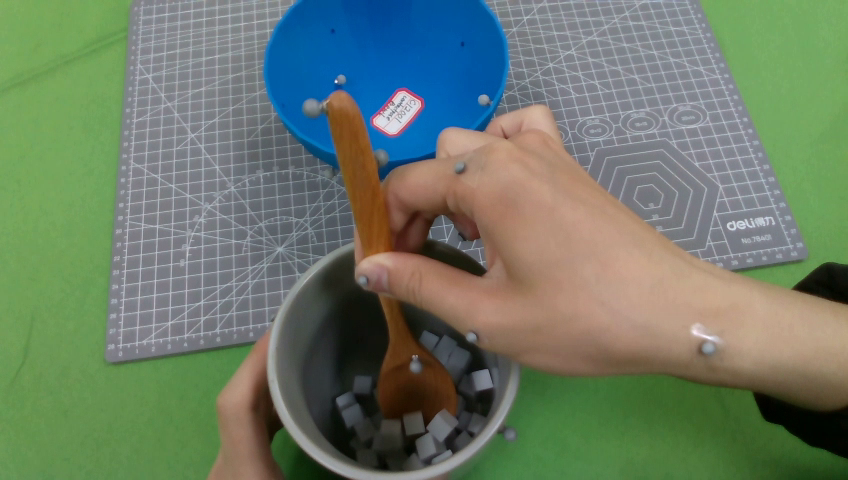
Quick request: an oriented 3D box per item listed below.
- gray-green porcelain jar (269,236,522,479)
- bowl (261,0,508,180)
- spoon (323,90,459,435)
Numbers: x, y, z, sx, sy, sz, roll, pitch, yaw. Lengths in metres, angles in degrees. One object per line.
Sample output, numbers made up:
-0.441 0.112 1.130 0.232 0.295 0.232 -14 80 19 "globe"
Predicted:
-0.009 0.071 0.305 0.106 0.127 0.105 -1 65 2 "gray-green porcelain jar"
-0.023 -0.095 0.402 0.151 0.077 0.150 0 66 1 "bowl"
-0.013 0.025 0.265 0.041 0.196 0.021 -7 42 5 "spoon"
